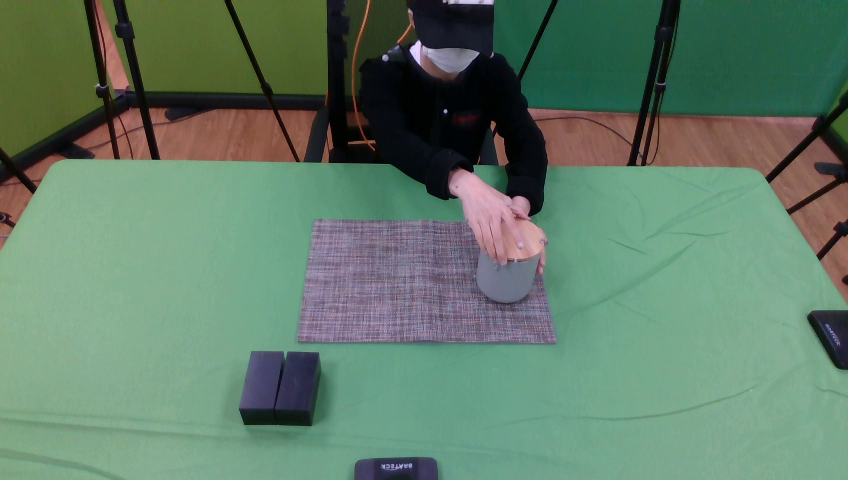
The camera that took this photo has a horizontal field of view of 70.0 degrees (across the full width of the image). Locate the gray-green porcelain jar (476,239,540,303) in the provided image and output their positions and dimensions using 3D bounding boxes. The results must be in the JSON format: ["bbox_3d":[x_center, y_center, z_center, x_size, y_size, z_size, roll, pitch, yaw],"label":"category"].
[{"bbox_3d":[0.149,0.043,1.090,0.106,0.127,0.105,2,46,-2],"label":"gray-green porcelain jar"}]

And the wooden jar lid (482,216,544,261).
[{"bbox_3d":[0.152,0.000,1.045,0.108,0.021,0.107,4,44,-3],"label":"wooden jar lid"}]
